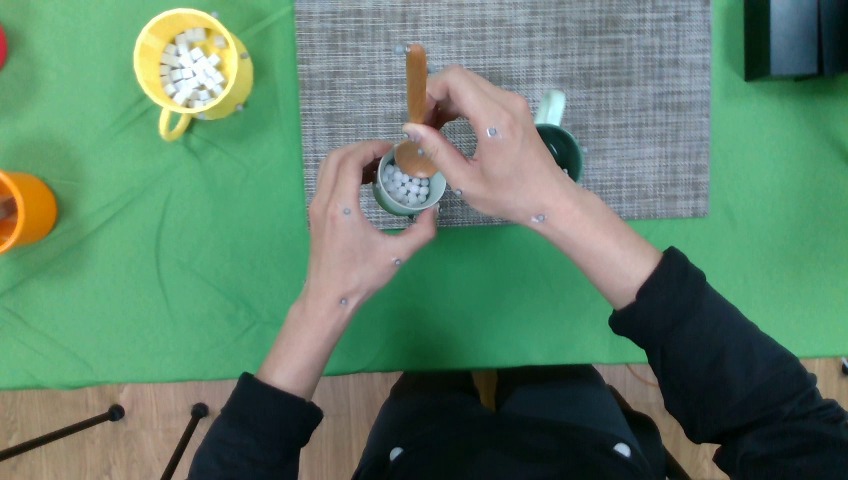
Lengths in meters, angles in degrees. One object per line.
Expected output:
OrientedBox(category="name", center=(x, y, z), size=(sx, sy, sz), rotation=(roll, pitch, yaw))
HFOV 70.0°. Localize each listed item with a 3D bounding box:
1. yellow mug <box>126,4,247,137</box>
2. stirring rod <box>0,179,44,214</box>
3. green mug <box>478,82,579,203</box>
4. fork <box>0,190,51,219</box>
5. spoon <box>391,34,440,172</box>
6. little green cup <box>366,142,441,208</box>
OrientedBox(category="yellow mug", center=(-0.244, -0.166, 0.617), size=(0.100, 0.064, 0.131), rotation=(23, 96, -6))
OrientedBox(category="stirring rod", center=(-0.454, -0.010, 0.591), size=(0.014, 0.006, 0.175), rotation=(48, 51, -8))
OrientedBox(category="green mug", center=(0.110, -0.098, 0.618), size=(0.092, 0.104, 0.125), rotation=(14, 96, -3))
OrientedBox(category="fork", center=(-0.476, -0.045, 0.580), size=(0.209, 0.018, 0.028), rotation=(10, 94, -47))
OrientedBox(category="spoon", center=(-0.006, -0.090, 0.442), size=(0.041, 0.194, 0.021), rotation=(12, 78, 2))
OrientedBox(category="little green cup", center=(-0.020, -0.057, 0.530), size=(0.062, 0.038, 0.061), rotation=(-2, 94, -29))
